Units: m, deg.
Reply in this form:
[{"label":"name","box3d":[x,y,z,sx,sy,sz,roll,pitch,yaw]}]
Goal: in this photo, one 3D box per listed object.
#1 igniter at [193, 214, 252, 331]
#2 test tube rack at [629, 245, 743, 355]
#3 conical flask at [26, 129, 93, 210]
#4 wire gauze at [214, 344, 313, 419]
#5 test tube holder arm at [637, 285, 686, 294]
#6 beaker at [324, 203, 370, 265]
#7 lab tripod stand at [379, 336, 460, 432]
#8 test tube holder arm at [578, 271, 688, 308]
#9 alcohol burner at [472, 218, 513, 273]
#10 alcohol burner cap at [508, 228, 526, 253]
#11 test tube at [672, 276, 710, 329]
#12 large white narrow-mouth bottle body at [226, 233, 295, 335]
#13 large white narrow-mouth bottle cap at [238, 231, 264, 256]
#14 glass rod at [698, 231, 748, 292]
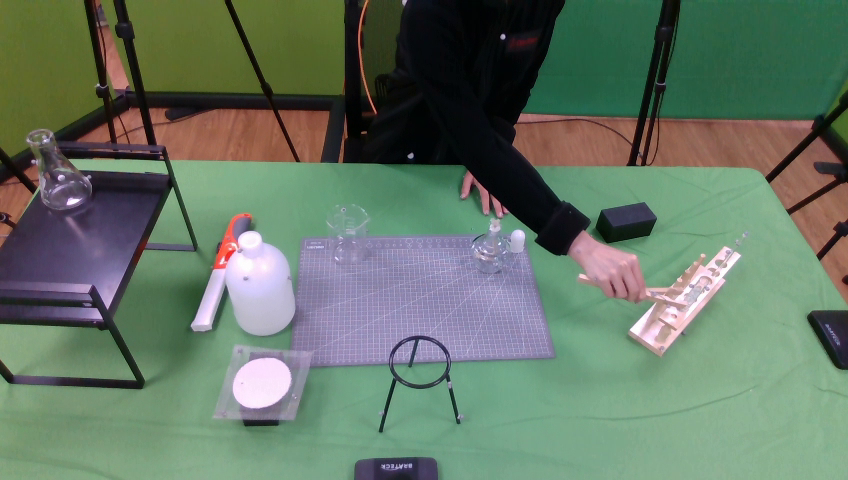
[{"label":"igniter","box3d":[-0.368,0.050,1.119,0.057,0.025,0.275,-3,46,7]},{"label":"test tube rack","box3d":[0.474,0.095,1.091,0.242,0.085,0.066,-34,57,-31]},{"label":"conical flask","box3d":[-0.575,-0.113,0.946,0.075,0.122,0.075,2,46,-2]},{"label":"wire gauze","box3d":[-0.241,0.213,0.915,0.121,0.011,0.124,5,46,1]},{"label":"test tube holder arm","box3d":[0.382,0.082,0.985,0.088,0.015,0.010,-2,57,-11]},{"label":"beaker","box3d":[-0.142,-0.009,1.137,0.084,0.101,0.073,-3,47,-7]},{"label":"lab tripod stand","box3d":[-0.011,0.214,0.911,0.148,0.132,0.147,1,45,0]},{"label":"test tube holder arm","box3d":[0.338,0.080,0.979,0.178,0.015,0.013,14,54,1]},{"label":"alcohol burner","box3d":[0.128,0.005,1.132,0.078,0.120,0.077,0,47,0]},{"label":"alcohol burner cap","box3d":[0.185,-0.002,1.192,0.034,0.048,0.033,3,43,-3]},{"label":"test tube","box3d":[0.435,0.107,1.006,0.017,0.151,0.017,2,52,-3]},{"label":"large white narrow-mouth bottle body","box3d":[-0.270,0.065,0.995,0.102,0.195,0.101,2,46,-2]},{"label":"large white narrow-mouth bottle cap","box3d":[-0.266,0.006,0.932,0.038,0.024,0.037,2,46,-2]},{"label":"glass rod","box3d":[0.514,0.044,1.051,0.008,0.200,0.008,1,55,-1]}]
